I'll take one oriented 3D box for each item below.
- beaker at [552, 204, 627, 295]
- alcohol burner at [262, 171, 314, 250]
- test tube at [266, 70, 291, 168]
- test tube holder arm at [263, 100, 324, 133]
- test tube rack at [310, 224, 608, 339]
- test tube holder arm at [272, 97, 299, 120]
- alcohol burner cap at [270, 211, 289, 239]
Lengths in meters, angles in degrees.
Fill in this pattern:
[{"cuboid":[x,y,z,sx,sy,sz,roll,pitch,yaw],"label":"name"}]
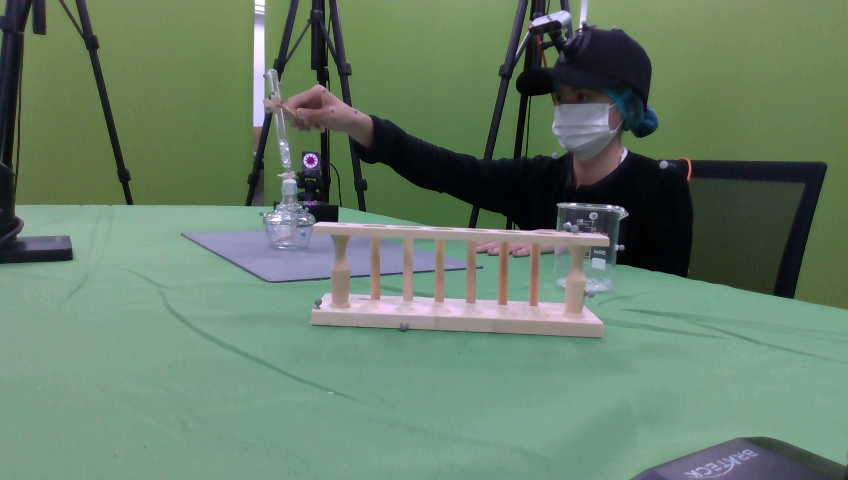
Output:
[{"cuboid":[0.191,0.010,0.708,0.083,0.100,0.074,8,9,33],"label":"beaker"},{"cuboid":[-0.205,-0.045,0.913,0.078,0.119,0.078,1,9,0],"label":"alcohol burner"},{"cuboid":[-0.218,-0.181,0.907,0.017,0.150,0.017,-10,-4,0],"label":"test tube"},{"cuboid":[-0.206,-0.198,0.975,0.013,0.015,0.179,-8,-4,16],"label":"test tube holder arm"},{"cuboid":[0.028,0.032,0.528,0.242,0.085,0.067,3,7,0],"label":"test tube rack"},{"cuboid":[-0.212,-0.200,0.930,0.010,0.015,0.088,-8,-4,8],"label":"test tube holder arm"},{"cuboid":[-0.246,-0.026,1.035,0.034,0.048,0.034,2,8,0],"label":"alcohol burner cap"}]
